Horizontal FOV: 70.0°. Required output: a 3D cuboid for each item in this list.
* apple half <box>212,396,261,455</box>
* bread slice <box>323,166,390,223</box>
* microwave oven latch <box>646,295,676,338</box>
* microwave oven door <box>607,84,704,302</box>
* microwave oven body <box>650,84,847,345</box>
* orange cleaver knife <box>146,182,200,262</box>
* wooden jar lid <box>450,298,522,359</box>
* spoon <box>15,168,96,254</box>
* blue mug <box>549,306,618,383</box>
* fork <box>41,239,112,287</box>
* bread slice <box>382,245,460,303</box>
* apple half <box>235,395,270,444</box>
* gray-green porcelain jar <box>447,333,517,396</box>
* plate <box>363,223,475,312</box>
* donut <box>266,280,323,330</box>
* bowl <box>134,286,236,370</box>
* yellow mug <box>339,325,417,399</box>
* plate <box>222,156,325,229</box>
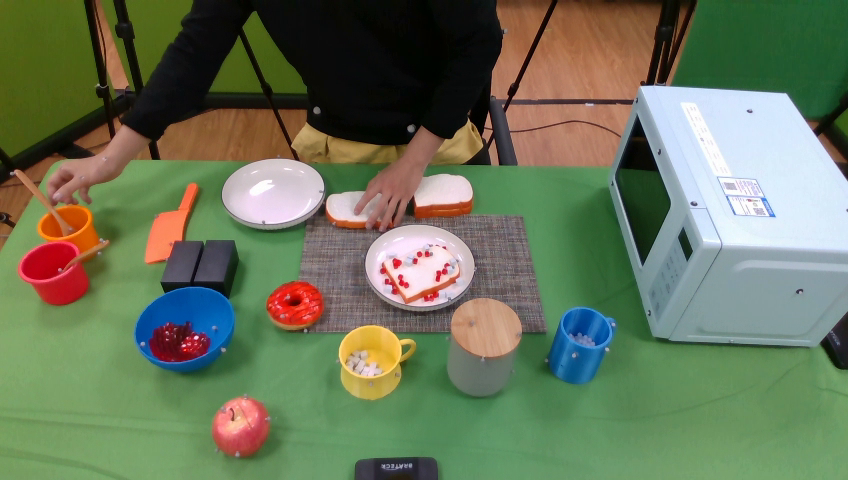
[{"bbox_3d":[-0.276,0.276,0.877,0.053,0.075,0.080,-29,58,-20],"label":"apple half"},{"bbox_3d":[-0.140,-0.091,1.223,0.134,0.018,0.106,-19,52,6],"label":"bread slice"},{"bbox_3d":[0.413,0.133,1.060,0.030,0.029,0.078,4,46,1],"label":"microwave oven latch"},{"bbox_3d":[0.424,-0.096,1.138,0.039,0.245,0.353,3,46,-1],"label":"microwave oven door"},{"bbox_3d":[0.569,-0.054,1.116,0.326,0.261,0.439,2,46,-1],"label":"microwave oven body"},{"bbox_3d":[-0.494,-0.039,1.199,0.077,0.012,0.210,-3,48,2],"label":"orange cleaver knife"},{"bbox_3d":[0.093,0.135,0.914,0.108,0.021,0.107,2,48,-3],"label":"wooden jar lid"},{"bbox_3d":[-0.675,-0.052,1.109,0.041,0.194,0.021,-43,18,-34],"label":"spoon"},{"bbox_3d":[0.269,0.167,0.997,0.116,0.106,0.082,-19,50,-20],"label":"blue mug"},{"bbox_3d":[-0.591,0.040,1.028,0.207,0.019,0.028,-27,36,29],"label":"fork"},{"bbox_3d":[0.000,0.054,1.128,0.132,0.019,0.104,-20,51,-22],"label":"bread slice"},{"bbox_3d":[-0.245,0.260,0.893,0.033,0.082,0.081,-29,55,-22],"label":"apple half"},{"bbox_3d":[0.091,0.178,0.960,0.106,0.127,0.105,2,46,-2],"label":"gray-green porcelain jar"},{"bbox_3d":[-0.009,0.054,1.126,0.208,0.039,0.206,2,46,-2],"label":"plate"},{"bbox_3d":[-0.223,0.112,1.051,0.099,0.048,0.098,2,46,-1],"label":"donut"},{"bbox_3d":[-0.377,0.156,0.981,0.151,0.077,0.150,2,46,-2],"label":"bowl"},{"bbox_3d":[-0.072,0.190,0.978,0.131,0.064,0.099,-17,50,-20],"label":"yellow mug"},{"bbox_3d":[-0.308,-0.095,1.251,0.209,0.038,0.208,3,46,-3],"label":"plate"}]
